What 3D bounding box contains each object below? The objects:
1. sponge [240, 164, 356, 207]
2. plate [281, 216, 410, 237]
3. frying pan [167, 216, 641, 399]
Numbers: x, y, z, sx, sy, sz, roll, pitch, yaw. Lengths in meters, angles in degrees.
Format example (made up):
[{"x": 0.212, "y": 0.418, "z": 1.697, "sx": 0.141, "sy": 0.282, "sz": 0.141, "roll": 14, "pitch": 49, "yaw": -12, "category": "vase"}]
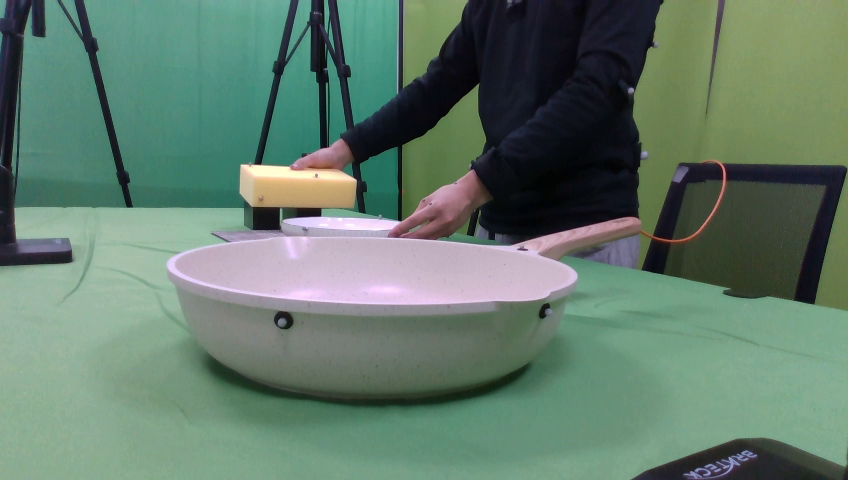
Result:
[{"x": -0.255, "y": -0.109, "z": 1.220, "sx": 0.208, "sy": 0.061, "sz": 0.117, "roll": -1, "pitch": 17, "yaw": -30, "category": "sponge"}, {"x": -0.126, "y": -0.012, "z": 0.986, "sx": 0.208, "sy": 0.039, "sz": 0.207, "roll": 2, "pitch": 7, "yaw": 0, "category": "plate"}, {"x": 0.046, "y": 0.024, "z": 0.519, "sx": 0.490, "sy": 0.102, "sz": 0.305, "roll": -14, "pitch": 16, "yaw": -37, "category": "frying pan"}]
